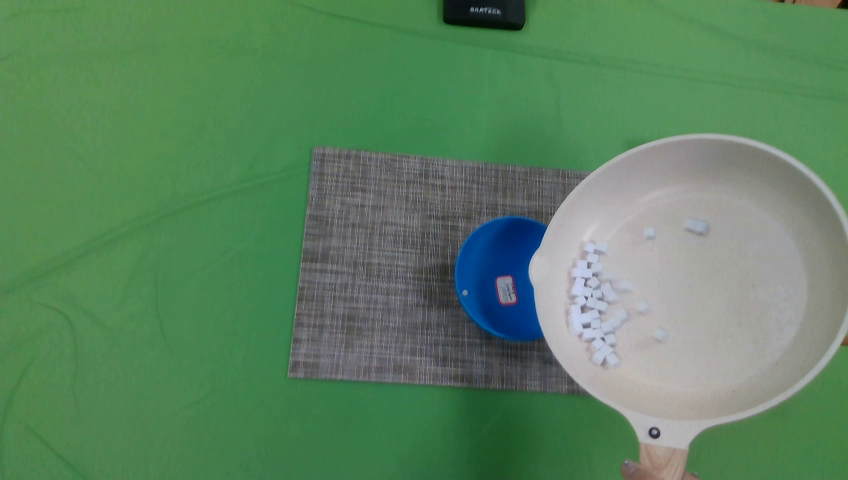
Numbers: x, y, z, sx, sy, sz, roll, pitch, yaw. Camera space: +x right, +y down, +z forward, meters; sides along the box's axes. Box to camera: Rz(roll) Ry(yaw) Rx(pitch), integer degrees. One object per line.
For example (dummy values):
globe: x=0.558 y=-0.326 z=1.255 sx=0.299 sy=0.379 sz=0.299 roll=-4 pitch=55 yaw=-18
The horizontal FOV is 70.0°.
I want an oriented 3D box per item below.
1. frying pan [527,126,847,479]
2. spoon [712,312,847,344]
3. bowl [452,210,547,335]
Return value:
frying pan: x=0.227 y=0.123 z=0.566 sx=0.305 sy=0.104 sz=0.485 roll=0 pitch=62 yaw=36
spoon: x=0.454 y=0.110 z=0.730 sx=0.022 sy=0.192 sz=0.041 roll=30 pitch=65 yaw=-45
bowl: x=0.104 y=0.046 z=0.735 sx=0.152 sy=0.077 sz=0.150 roll=2 pitch=74 yaw=-7
